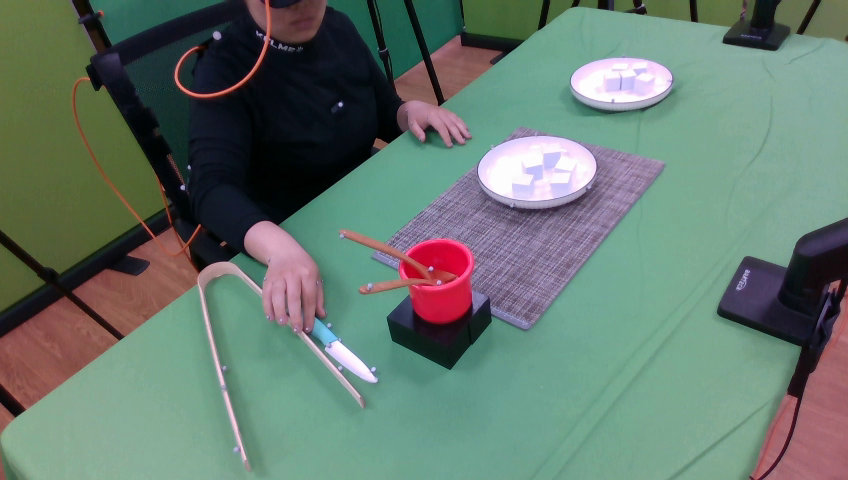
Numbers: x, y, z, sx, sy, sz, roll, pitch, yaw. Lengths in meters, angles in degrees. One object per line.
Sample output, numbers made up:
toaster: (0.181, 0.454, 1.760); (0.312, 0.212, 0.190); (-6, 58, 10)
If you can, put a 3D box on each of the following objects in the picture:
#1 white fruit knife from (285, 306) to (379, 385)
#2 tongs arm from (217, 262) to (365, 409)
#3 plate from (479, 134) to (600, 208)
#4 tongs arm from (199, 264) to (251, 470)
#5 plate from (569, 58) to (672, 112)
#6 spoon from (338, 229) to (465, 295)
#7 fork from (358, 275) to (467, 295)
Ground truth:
white fruit knife: (-0.131, 0.144, 0.844); (0.205, 0.016, 0.027); (30, 83, 36)
tongs arm: (-0.201, 0.123, 0.871); (0.028, 0.028, 0.384); (-35, 46, -24)
plate: (0.202, -0.117, 1.065); (0.207, 0.039, 0.206); (-5, 40, 5)
tongs arm: (-0.269, 0.154, 0.841); (0.051, 0.026, 0.381); (-23, 40, -17)
plate: (0.411, -0.323, 1.274); (0.209, 0.038, 0.208); (-5, 41, 5)
spoon: (-0.025, 0.026, 0.776); (0.021, 0.195, 0.041); (-41, 34, 31)
fork: (-0.009, 0.056, 0.739); (0.028, 0.018, 0.209); (48, 23, 26)
